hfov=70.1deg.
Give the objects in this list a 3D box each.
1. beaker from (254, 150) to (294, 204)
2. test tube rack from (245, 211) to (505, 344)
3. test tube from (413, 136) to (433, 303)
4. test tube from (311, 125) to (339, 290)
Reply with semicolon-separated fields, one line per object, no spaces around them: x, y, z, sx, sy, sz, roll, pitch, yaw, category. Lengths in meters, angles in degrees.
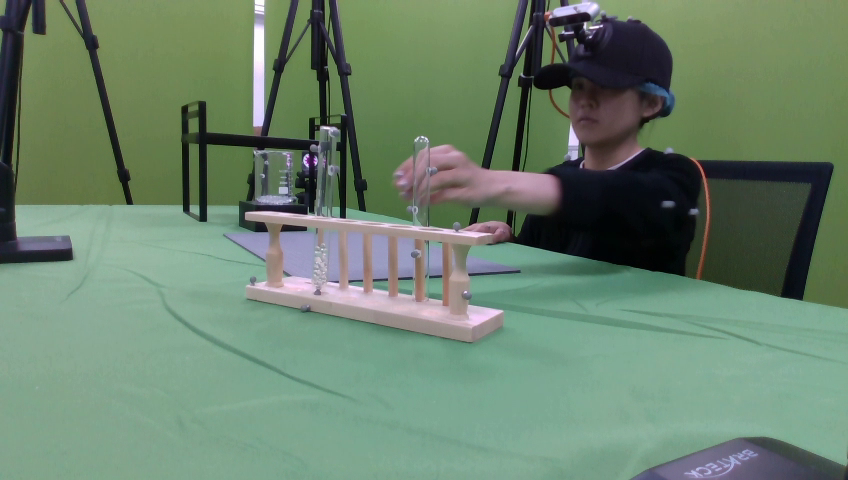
-0.289;-0.120;1.151;0.073;0.100;0.084;8;9;33;beaker
-0.049;0.025;0.547;0.241;0.085;0.067;7;8;29;test tube rack
-0.001;-0.016;0.538;0.017;0.150;0.017;1;8;0;test tube
-0.090;-0.028;0.545;0.017;0.150;0.017;6;11;-1;test tube
